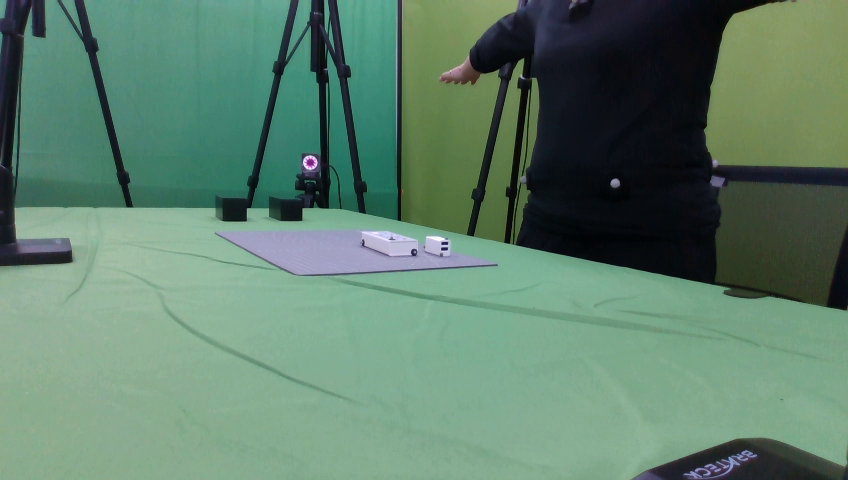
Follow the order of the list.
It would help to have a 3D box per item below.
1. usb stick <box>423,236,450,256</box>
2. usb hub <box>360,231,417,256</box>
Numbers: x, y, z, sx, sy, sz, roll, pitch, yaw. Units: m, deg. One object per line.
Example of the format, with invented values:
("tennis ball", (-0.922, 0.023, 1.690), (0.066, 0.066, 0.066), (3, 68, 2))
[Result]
("usb stick", (0.017, 0.009, 0.937), (0.021, 0.027, 0.059), (-1, 5, -29))
("usb hub", (-0.059, 0.004, 0.951), (0.050, 0.025, 0.124), (-1, 8, -26))
